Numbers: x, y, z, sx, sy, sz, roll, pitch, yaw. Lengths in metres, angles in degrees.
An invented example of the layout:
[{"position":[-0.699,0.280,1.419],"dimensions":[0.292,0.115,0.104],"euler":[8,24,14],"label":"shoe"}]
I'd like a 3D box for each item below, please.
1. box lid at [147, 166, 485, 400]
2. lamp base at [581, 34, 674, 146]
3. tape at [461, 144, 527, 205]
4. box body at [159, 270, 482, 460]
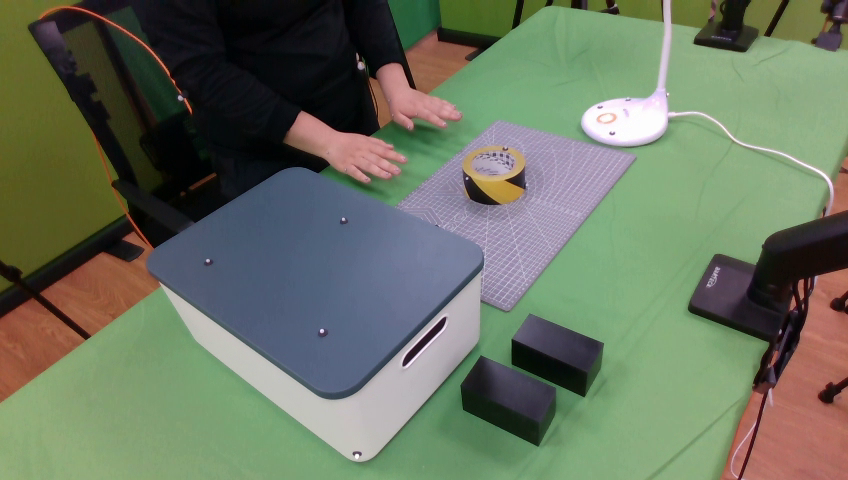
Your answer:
[{"position":[-0.136,0.025,0.738],"dimensions":[0.368,0.015,0.264],"euler":[25,50,32],"label":"box lid"},{"position":[0.393,-0.291,1.129],"dimensions":[0.180,0.181,0.159],"euler":[-11,41,-8],"label":"lamp base"},{"position":[0.124,-0.116,1.058],"dimensions":[0.117,0.053,0.116],"euler":[-4,42,4],"label":"tape"},{"position":[-0.130,0.079,0.787],"dimensions":[0.361,0.161,0.255],"euler":[25,50,32],"label":"box body"}]
